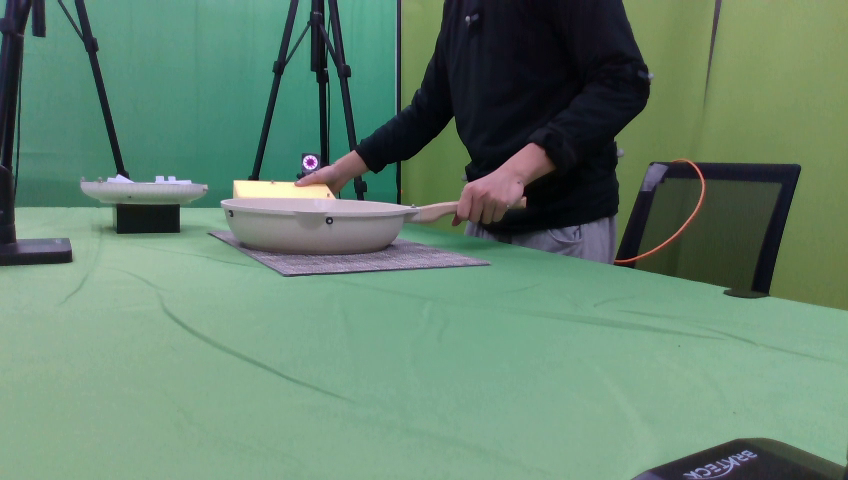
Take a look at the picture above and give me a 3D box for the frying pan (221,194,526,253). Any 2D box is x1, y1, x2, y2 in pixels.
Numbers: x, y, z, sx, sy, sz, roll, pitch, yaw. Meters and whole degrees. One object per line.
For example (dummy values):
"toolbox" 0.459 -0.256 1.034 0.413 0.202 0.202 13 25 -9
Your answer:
"frying pan" -0.070 -0.043 0.984 0.489 0.102 0.306 -7 9 -5

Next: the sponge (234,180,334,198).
"sponge" -0.313 -0.086 1.346 0.208 0.061 0.117 0 22 -24

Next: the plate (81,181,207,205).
"plate" -0.505 -0.086 1.100 0.208 0.039 0.207 2 6 0
